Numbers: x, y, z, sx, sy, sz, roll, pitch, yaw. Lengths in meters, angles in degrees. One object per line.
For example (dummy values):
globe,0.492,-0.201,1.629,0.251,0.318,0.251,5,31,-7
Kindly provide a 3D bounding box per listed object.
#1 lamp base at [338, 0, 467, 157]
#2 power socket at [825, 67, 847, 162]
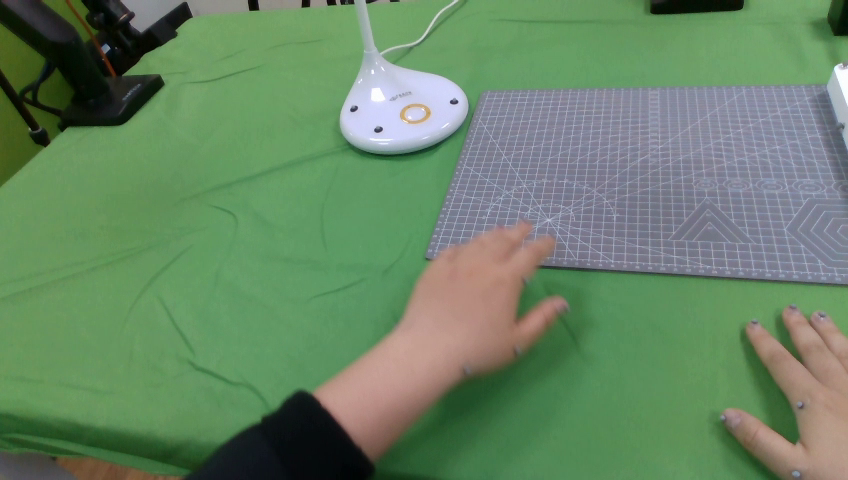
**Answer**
lamp base,-0.047,-0.213,0.700,0.160,0.182,0.177,-32,43,-20
power socket,0.435,-0.099,0.568,0.072,0.033,0.225,5,45,17
